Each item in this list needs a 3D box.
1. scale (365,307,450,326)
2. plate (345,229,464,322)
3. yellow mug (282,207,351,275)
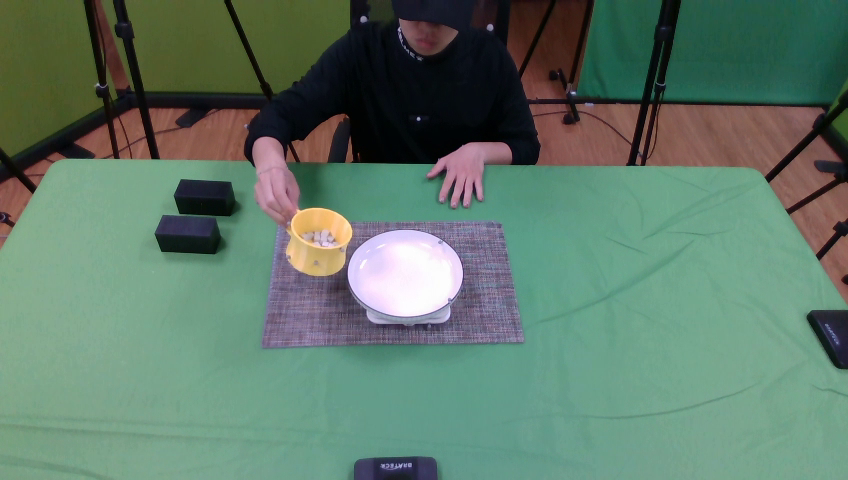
[{"bbox_3d":[-0.032,0.071,1.113,0.149,0.032,0.199,1,46,-4],"label":"scale"},{"bbox_3d":[-0.034,0.065,1.073,0.209,0.038,0.208,2,46,-2],"label":"plate"},{"bbox_3d":[-0.187,-0.008,1.004,0.130,0.064,0.100,35,40,17],"label":"yellow mug"}]
